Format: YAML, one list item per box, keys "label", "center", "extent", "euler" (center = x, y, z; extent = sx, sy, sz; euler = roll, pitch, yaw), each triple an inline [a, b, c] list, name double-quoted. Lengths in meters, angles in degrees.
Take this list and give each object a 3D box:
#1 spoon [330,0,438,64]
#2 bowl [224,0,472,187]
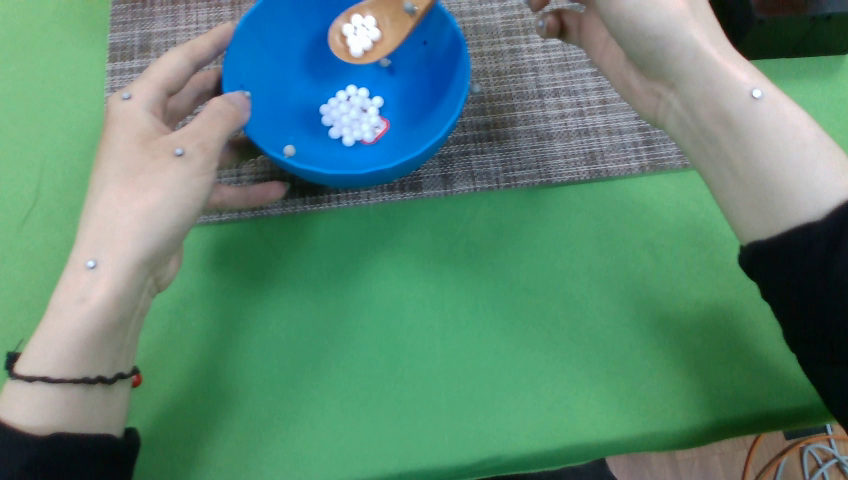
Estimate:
- label: "spoon"
  center: [0.027, -0.153, 0.343]
  extent: [0.193, 0.022, 0.041]
  euler: [-21, 74, 27]
- label: "bowl"
  center: [-0.046, -0.093, 0.401]
  extent: [0.151, 0.077, 0.150]
  euler: [1, 69, -1]
